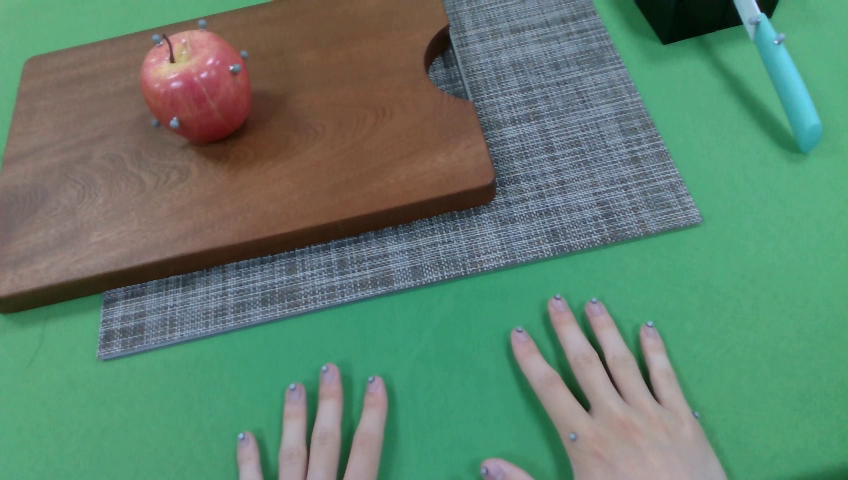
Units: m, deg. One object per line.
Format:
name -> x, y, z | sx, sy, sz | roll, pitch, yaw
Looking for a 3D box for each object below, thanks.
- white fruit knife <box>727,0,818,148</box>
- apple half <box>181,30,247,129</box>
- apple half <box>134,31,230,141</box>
white fruit knife -> 0.261, -0.169, 0.481 | 0.016, 0.027, 0.206 | -16, 73, -2
apple half -> -0.158, -0.131, 0.481 | 0.033, 0.082, 0.080 | -24, 60, -2
apple half -> -0.194, -0.115, 0.478 | 0.053, 0.075, 0.080 | -24, 63, -2
